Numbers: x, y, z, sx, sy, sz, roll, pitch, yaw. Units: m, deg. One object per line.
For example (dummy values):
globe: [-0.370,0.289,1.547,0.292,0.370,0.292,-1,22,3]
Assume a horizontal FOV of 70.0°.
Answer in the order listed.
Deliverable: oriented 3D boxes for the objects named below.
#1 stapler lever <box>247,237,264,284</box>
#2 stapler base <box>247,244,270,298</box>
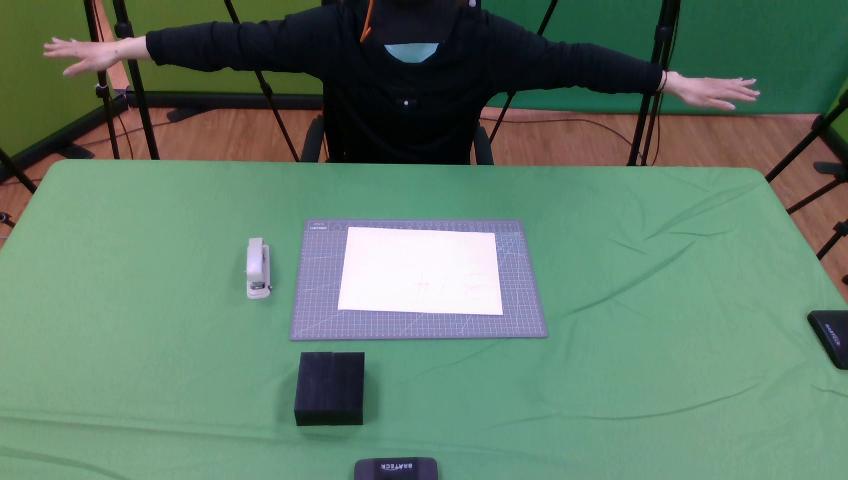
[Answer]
stapler lever: [-0.307,0.031,1.106,0.027,0.040,0.117,-4,45,-12]
stapler base: [-0.308,0.050,1.123,0.041,0.024,0.129,-4,45,-12]
